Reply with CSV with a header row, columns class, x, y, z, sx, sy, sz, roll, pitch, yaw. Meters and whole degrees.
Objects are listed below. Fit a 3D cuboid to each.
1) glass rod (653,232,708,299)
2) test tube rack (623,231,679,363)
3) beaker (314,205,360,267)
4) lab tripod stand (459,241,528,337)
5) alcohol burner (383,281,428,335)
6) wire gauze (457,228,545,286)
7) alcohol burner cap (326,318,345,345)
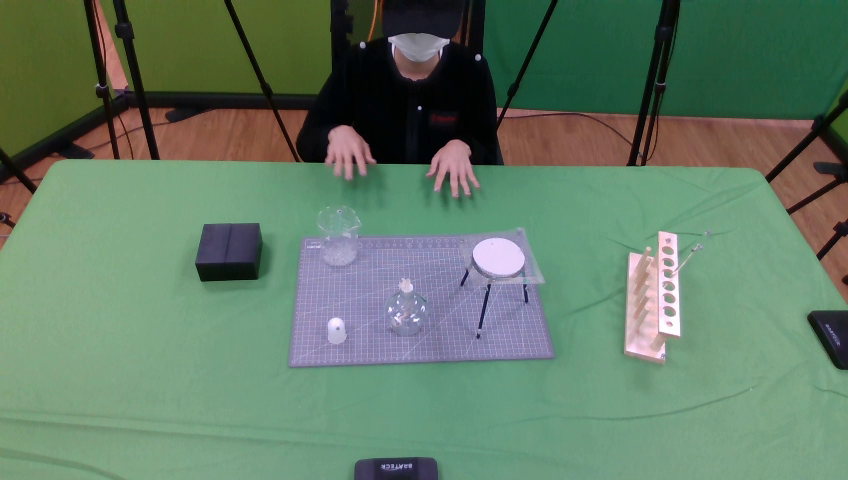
class,x,y,z,sx,sy,sz,roll,pitch,yaw
glass rod,0.441,0.049,1.050,0.008,0.200,0.008,4,52,-5
test tube rack,0.410,0.094,1.096,0.066,0.085,0.241,13,46,9
beaker,-0.160,-0.004,1.132,0.084,0.101,0.073,9,46,3
lab tripod stand,0.122,0.075,1.054,0.148,0.132,0.147,3,44,-3
alcohol burner,-0.030,0.108,1.024,0.078,0.119,0.077,2,48,-2
wire gauze,0.126,0.028,1.006,0.125,0.011,0.120,-4,46,-10
alcohol burner cap,-0.149,0.151,1.023,0.034,0.048,0.033,3,46,-3
